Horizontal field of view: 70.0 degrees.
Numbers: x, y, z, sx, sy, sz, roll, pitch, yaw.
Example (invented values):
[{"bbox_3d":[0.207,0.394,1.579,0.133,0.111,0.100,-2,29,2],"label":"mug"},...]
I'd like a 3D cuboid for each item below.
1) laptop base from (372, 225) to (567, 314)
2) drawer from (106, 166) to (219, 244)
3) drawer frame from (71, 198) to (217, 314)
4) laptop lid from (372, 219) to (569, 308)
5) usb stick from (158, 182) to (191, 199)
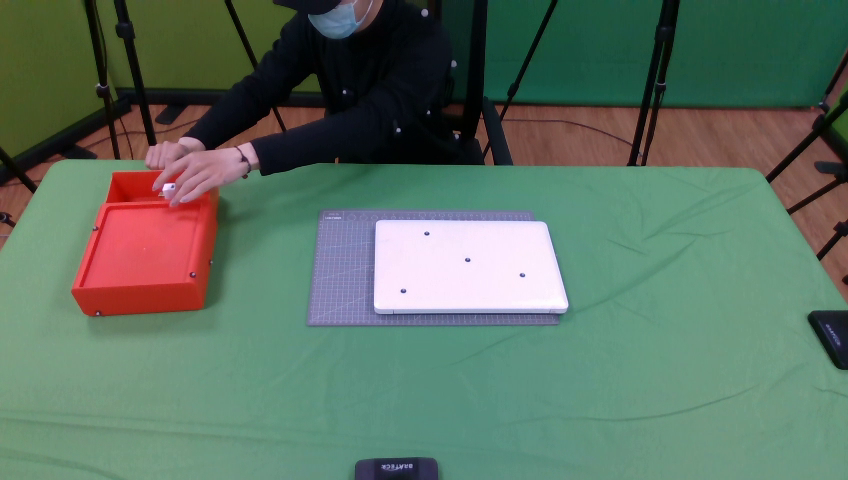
[{"bbox_3d":[0.080,0.049,1.159,0.355,0.023,0.234,0,43,-4],"label":"laptop base"},{"bbox_3d":[-0.507,-0.046,1.162,0.195,0.073,0.210,-3,47,-9],"label":"drawer"},{"bbox_3d":[-0.493,0.023,1.096,0.202,0.083,0.212,-3,47,-8],"label":"drawer frame"},{"bbox_3d":[0.081,0.039,1.152,0.357,0.013,0.240,2,44,-3],"label":"laptop lid"},{"bbox_3d":[-0.482,-0.094,1.165,0.059,0.027,0.021,-7,47,-3],"label":"usb stick"}]
